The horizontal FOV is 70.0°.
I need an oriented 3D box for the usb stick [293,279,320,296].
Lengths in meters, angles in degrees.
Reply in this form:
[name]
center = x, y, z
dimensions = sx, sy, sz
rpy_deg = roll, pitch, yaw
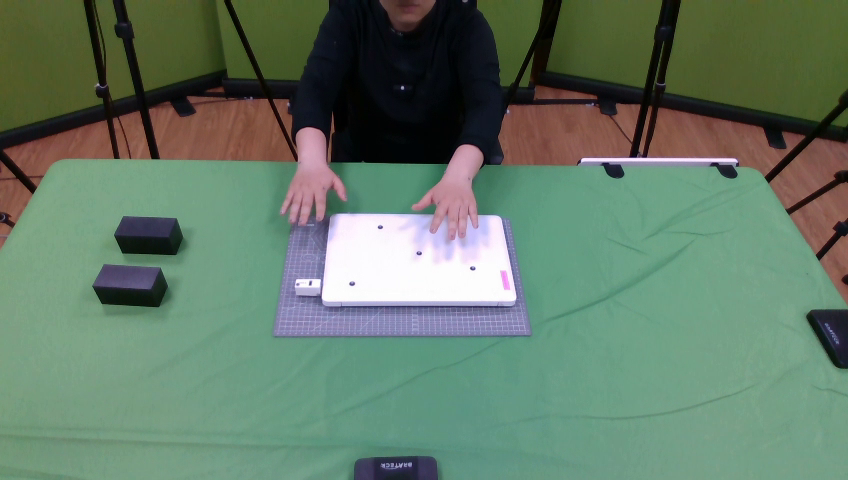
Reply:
[usb stick]
center = -0.202, 0.086, 1.083
dimensions = 0.059, 0.027, 0.021
rpy_deg = 3, 46, -5

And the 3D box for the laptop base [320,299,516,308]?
[laptop base]
center = -0.013, 0.039, 1.160
dimensions = 0.355, 0.023, 0.234
rpy_deg = 0, 43, -4

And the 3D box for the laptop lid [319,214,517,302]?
[laptop lid]
center = -0.013, 0.029, 1.154
dimensions = 0.357, 0.013, 0.240
rpy_deg = 2, 44, -3
